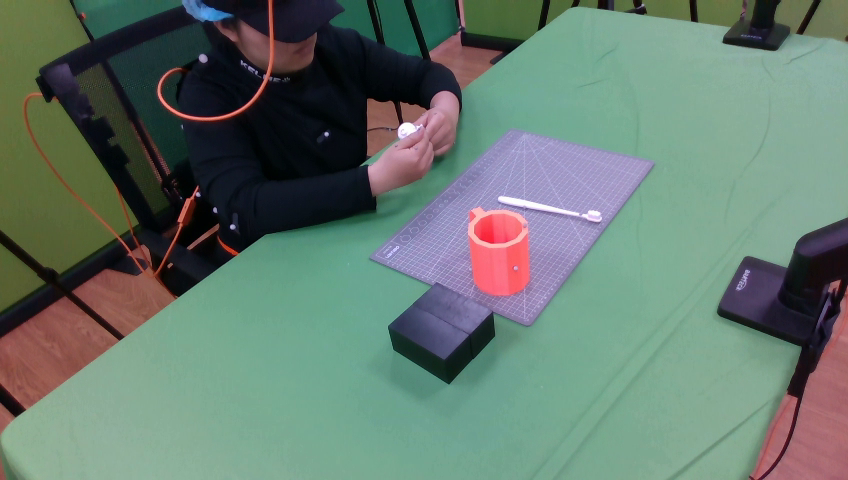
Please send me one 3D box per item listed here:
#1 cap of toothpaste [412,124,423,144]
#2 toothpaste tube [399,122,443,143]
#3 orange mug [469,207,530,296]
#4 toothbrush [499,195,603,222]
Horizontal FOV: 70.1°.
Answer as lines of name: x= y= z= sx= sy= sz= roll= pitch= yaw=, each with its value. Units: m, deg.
cap of toothpaste: x=-0.012 y=-0.183 z=1.037 sx=0.011 sy=0.037 sz=0.037 roll=13 pitch=39 yaw=-13
toothpaste tube: x=-0.009 y=-0.196 z=1.126 sx=0.055 sy=0.034 sz=0.165 roll=-6 pitch=3 yaw=16
orange mug: x=0.104 y=0.008 z=0.894 sx=0.084 sy=0.101 sz=0.125 roll=-22 pitch=46 yaw=-14
toothbrush: x=0.209 y=-0.055 z=1.011 sx=0.180 sy=0.017 sz=0.014 roll=14 pitch=61 yaw=27
